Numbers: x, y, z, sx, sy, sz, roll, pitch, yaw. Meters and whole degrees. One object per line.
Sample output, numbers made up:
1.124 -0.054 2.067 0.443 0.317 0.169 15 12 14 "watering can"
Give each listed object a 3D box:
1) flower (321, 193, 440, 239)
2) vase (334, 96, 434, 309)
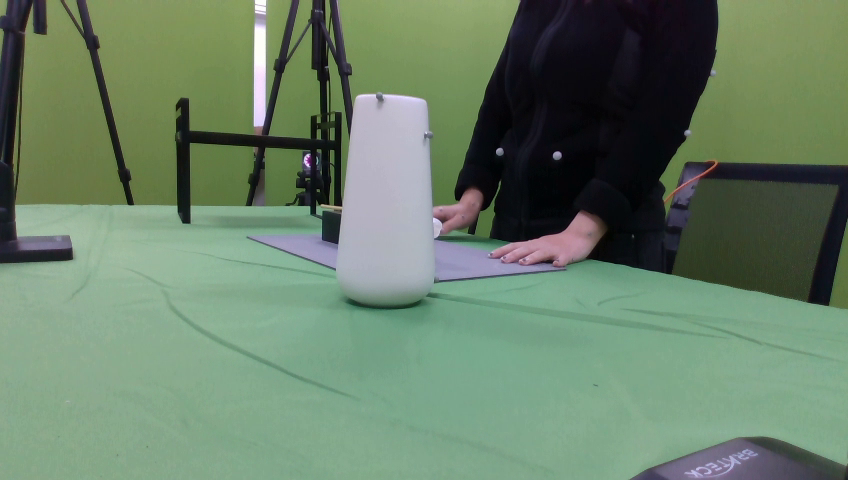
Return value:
-0.088 -0.046 0.945 0.044 0.038 0.360 -38 29 -20 "flower"
-0.038 -0.036 0.590 0.098 0.200 0.098 1 8 0 "vase"
